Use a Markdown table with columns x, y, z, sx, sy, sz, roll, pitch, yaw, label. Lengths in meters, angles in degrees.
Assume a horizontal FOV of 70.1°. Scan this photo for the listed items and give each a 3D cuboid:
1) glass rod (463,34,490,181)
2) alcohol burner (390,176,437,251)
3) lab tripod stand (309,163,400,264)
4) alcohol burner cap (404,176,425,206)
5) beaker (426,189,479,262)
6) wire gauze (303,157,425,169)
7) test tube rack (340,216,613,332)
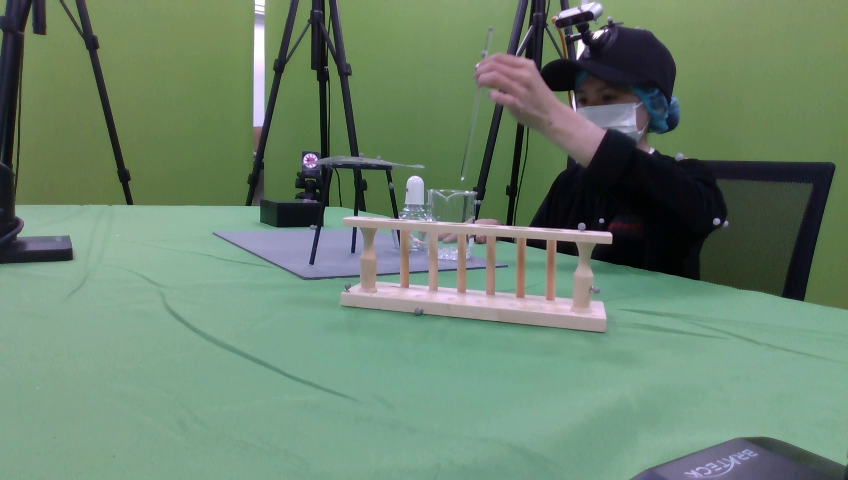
| x | y | z | sx | sy | sz | roll | pitch | yaw | label |
| --- | --- | --- | --- | --- | --- | --- | --- | --- | --- |
| 0.071 | -0.180 | 0.832 | 0.008 | 0.199 | 0.008 | 8 | 11 | -1 | glass rod |
| -0.016 | -0.042 | 0.955 | 0.078 | 0.119 | 0.078 | 4 | 6 | 0 | alcohol burner |
| -0.091 | -0.037 | 0.813 | 0.148 | 0.131 | 0.148 | 1 | 6 | 0 | lab tripod stand |
| -0.015 | -0.077 | 0.951 | 0.034 | 0.048 | 0.034 | 2 | 4 | 0 | alcohol burner cap |
| 0.039 | -0.022 | 0.871 | 0.074 | 0.100 | 0.084 | 4 | 8 | 12 | beaker |
| -0.082 | -0.102 | 0.799 | 0.126 | 0.011 | 0.121 | -1 | 7 | -30 | wire gauze |
| 0.048 | 0.026 | 0.568 | 0.242 | 0.085 | 0.067 | 4 | 8 | 13 | test tube rack |
